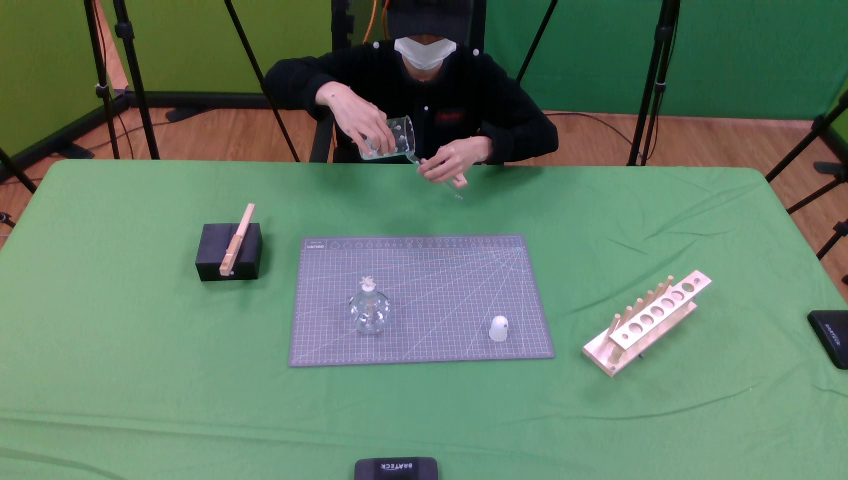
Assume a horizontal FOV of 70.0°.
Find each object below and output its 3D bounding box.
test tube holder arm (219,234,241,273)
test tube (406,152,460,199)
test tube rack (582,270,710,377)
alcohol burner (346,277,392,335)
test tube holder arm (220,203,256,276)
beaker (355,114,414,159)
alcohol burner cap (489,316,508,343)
[{"bbox_3d":[-0.344,0.023,1.076,0.015,0.010,0.087,5,45,1],"label":"test tube holder arm"},{"bbox_3d":[0.021,-0.127,1.210,0.151,0.017,0.017,37,36,-31],"label":"test tube"},{"bbox_3d":[0.389,0.132,1.057,0.242,0.085,0.066,-28,54,-28],"label":"test tube rack"},{"bbox_3d":[-0.093,0.106,1.021,0.078,0.120,0.077,1,46,-1],"label":"alcohol burner"},{"bbox_3d":[-0.340,-0.005,1.112,0.015,0.013,0.177,5,46,1],"label":"test tube holder arm"},{"bbox_3d":[-0.075,-0.190,1.143,0.100,0.084,0.073,-9,33,-11],"label":"beaker"},{"bbox_3d":[0.130,0.151,1.045,0.034,0.048,0.033,2,46,-2],"label":"alcohol burner cap"}]
